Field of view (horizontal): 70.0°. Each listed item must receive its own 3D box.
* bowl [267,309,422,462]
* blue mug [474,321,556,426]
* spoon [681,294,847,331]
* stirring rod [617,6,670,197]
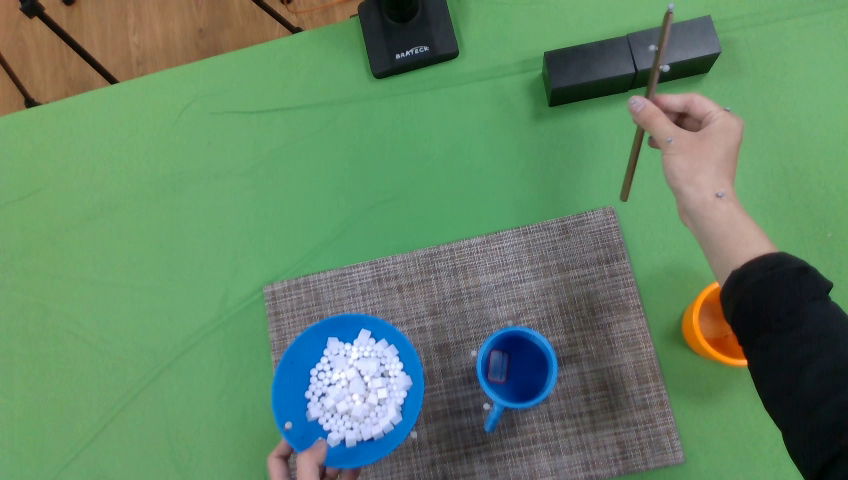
[{"bbox_3d":[-0.076,0.154,0.627,0.151,0.077,0.150,0,67,1],"label":"bowl"},{"bbox_3d":[0.091,0.149,0.661,0.082,0.106,0.116,25,83,12],"label":"blue mug"},{"bbox_3d":[0.359,0.077,0.623,0.022,0.193,0.041,18,76,-34],"label":"spoon"},{"bbox_3d":[0.204,-0.125,0.567,0.006,0.014,0.177,5,112,-5],"label":"stirring rod"}]
